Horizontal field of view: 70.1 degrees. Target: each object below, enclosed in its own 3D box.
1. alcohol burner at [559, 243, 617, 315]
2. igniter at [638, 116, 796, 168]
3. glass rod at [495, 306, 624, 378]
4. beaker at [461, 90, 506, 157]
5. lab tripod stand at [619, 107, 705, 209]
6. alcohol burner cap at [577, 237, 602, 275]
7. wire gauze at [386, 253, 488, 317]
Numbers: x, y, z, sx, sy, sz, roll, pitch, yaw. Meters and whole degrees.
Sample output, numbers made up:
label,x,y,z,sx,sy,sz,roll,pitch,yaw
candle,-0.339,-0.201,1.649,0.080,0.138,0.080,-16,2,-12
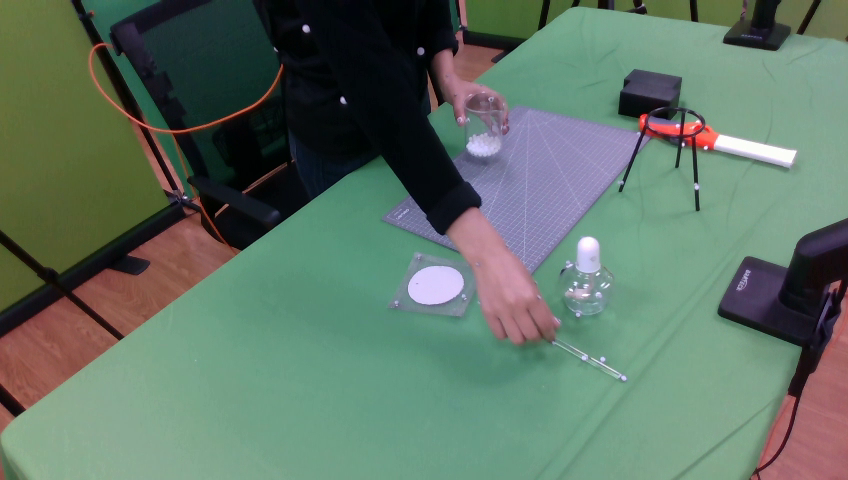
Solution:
label,x,y,z,sx,sy,sz,roll,pitch,yaw
alcohol burner,0.222,0.045,0.816,0.078,0.119,0.077,-4,42,4
igniter,0.517,-0.181,1.093,0.274,0.025,0.057,23,65,32
glass rod,0.174,0.131,0.803,0.198,0.008,0.008,27,53,35
beaker,0.109,-0.207,1.089,0.083,0.100,0.074,23,50,27
lab tripod stand,0.400,-0.136,0.980,0.148,0.132,0.147,-4,41,4
alcohol burner cap,0.217,0.018,0.792,0.034,0.048,0.033,-7,35,5
wire gauze,0.021,0.067,0.910,0.121,0.011,0.125,9,41,20
